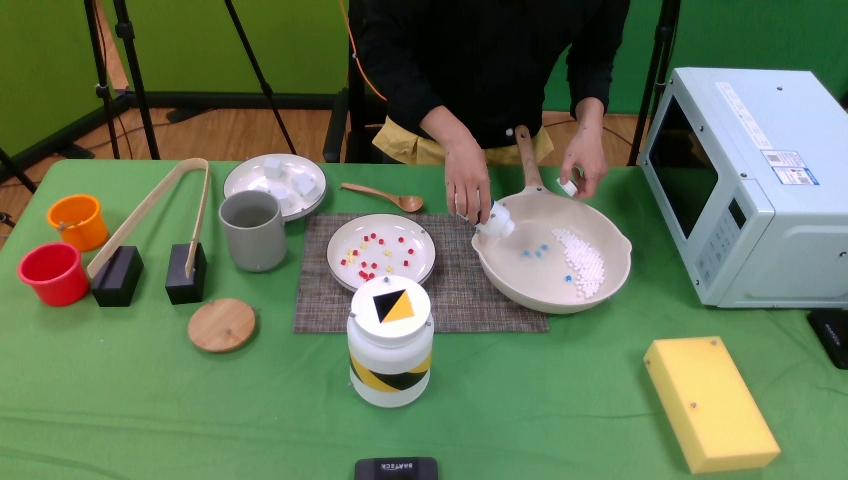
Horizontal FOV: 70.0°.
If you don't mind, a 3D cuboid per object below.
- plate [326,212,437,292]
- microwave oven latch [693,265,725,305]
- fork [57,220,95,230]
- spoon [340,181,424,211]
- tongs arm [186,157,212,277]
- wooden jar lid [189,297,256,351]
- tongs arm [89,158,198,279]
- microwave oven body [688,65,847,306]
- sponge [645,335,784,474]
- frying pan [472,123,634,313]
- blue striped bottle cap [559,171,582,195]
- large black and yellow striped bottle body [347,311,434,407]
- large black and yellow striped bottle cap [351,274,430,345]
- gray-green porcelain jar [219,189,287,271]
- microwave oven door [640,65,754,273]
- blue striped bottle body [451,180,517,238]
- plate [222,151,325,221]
[{"bbox_3d":[-0.080,0.030,1.143,0.209,0.038,0.208,3,46,-2],"label":"plate"},{"bbox_3d":[0.523,0.082,1.116,0.030,0.029,0.078,2,46,-1],"label":"microwave oven latch"},{"bbox_3d":[-0.624,-0.027,1.087,0.028,0.207,0.018,-3,92,-17],"label":"fork"},{"bbox_3d":[-0.090,-0.100,1.282,0.193,0.022,0.041,18,66,12],"label":"spoon"},{"bbox_3d":[-0.445,-0.058,1.168,0.051,0.026,0.382,-5,37,-6],"label":"tongs arm"},{"bbox_3d":[-0.342,0.145,1.033,0.108,0.021,0.107,2,45,-2],"label":"wooden jar lid"},{"bbox_3d":[-0.529,-0.057,1.164,0.028,0.028,0.385,1,36,8],"label":"tongs arm"},{"bbox_3d":[0.669,-0.111,1.176,0.326,0.261,0.439,0,46,-3],"label":"microwave oven body"},{"bbox_3d":[0.449,0.253,0.956,0.118,0.061,0.205,-4,46,-7],"label":"sponge"},{"bbox_3d":[0.235,-0.060,1.207,0.307,0.103,0.484,2,55,-6],"label":"frying pan"},{"bbox_3d":[0.281,-0.110,1.160,0.045,0.020,0.044,29,35,-23],"label":"blue striped bottle cap"},{"bbox_3d":[-0.052,0.157,0.929,0.131,0.185,0.130,2,47,-2],"label":"large black and yellow striped bottle body"},{"bbox_3d":[-0.048,0.097,0.867,0.115,0.019,0.114,2,48,-3],"label":"large black and yellow striped bottle cap"},{"bbox_3d":[-0.310,-0.014,1.113,0.106,0.127,0.105,2,46,-2],"label":"gray-green porcelain jar"},{"bbox_3d":[0.524,-0.148,1.193,0.039,0.245,0.353,0,47,-3],"label":"microwave oven door"},{"bbox_3d":[0.114,-0.052,1.120,0.121,0.063,0.063,34,45,-17],"label":"blue striped bottle body"},{"bbox_3d":[-0.310,-0.106,1.263,0.208,0.039,0.206,2,47,-2],"label":"plate"}]
